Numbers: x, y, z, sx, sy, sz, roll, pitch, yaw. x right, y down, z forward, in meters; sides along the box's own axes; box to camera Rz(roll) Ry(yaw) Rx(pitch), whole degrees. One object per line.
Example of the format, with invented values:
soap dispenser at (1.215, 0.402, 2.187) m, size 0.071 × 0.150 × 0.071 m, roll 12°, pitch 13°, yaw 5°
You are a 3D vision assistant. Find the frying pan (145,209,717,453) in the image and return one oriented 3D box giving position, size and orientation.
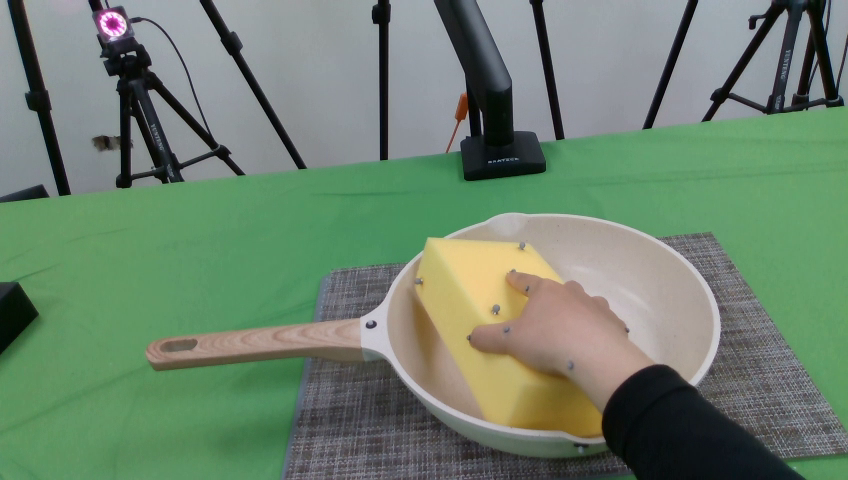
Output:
frying pan at (0.003, 0.080, 0.549) m, size 0.489 × 0.103 × 0.303 m, roll -2°, pitch 34°, yaw -5°

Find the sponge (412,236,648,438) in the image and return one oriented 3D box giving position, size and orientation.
sponge at (0.082, 0.074, 0.541) m, size 0.119 × 0.061 × 0.204 m, roll 2°, pitch 30°, yaw -25°
